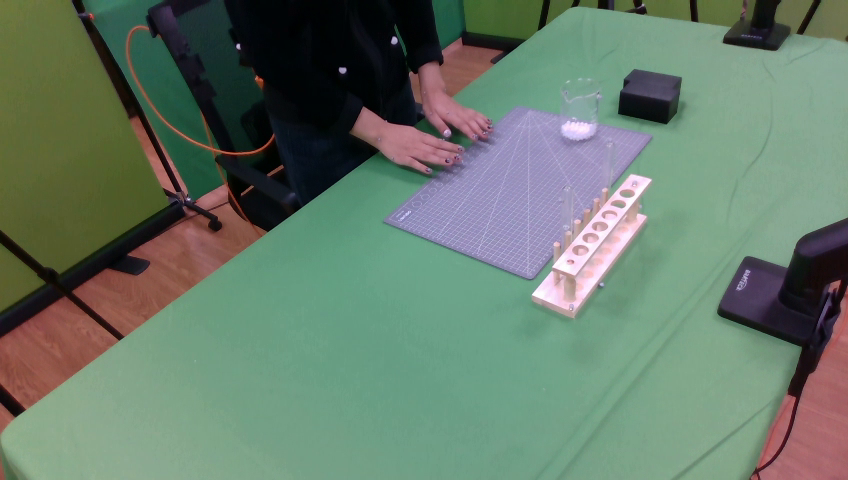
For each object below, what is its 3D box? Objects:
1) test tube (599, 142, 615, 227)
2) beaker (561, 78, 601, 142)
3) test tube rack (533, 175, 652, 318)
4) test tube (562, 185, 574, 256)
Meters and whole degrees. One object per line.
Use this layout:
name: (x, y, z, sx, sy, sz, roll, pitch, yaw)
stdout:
test tube: (0.274, -0.081, 0.909, 0.017, 0.151, 0.017, -5, 40, 5)
beaker: (0.295, -0.243, 1.150, 0.073, 0.101, 0.084, 22, 50, 32)
test tube rack: (0.250, -0.001, 0.889, 0.066, 0.085, 0.243, 22, 49, 33)
test tube: (0.201, -0.015, 0.845, 0.017, 0.151, 0.017, -6, 42, 6)
